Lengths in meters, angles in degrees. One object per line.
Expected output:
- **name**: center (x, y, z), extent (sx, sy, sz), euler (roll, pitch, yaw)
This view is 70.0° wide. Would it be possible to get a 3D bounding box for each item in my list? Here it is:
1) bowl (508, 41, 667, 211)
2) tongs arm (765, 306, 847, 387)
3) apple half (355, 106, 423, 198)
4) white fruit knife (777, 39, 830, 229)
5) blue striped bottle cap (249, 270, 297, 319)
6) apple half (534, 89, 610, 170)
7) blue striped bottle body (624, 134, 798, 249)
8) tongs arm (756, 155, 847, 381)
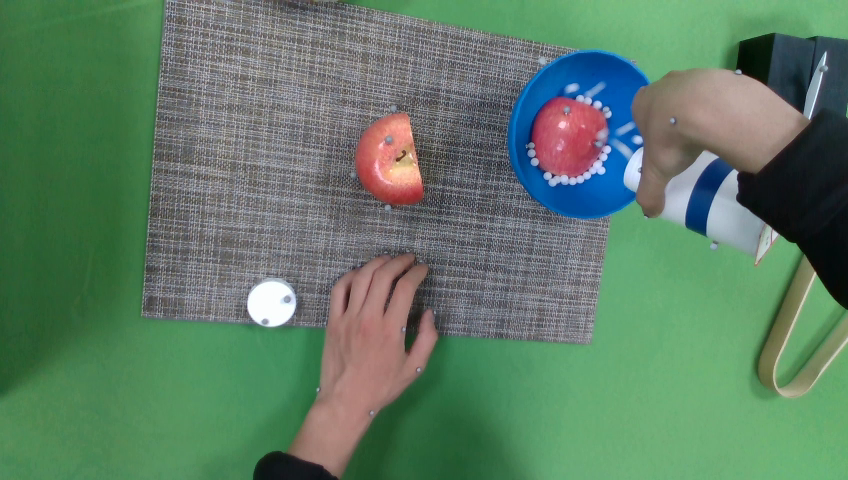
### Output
- **bowl**: center (0.142, -0.105, 0.577), extent (0.152, 0.076, 0.151), euler (-2, 99, -12)
- **tongs arm**: center (0.541, 0.023, 0.719), extent (0.051, 0.026, 0.384), euler (36, 91, -14)
- **apple half**: center (-0.035, -0.076, 0.542), extent (0.053, 0.074, 0.081), euler (-13, 104, -7)
- **white fruit knife**: center (0.392, -0.103, 0.636), extent (0.016, 0.027, 0.209), euler (3, 115, 4)
- **blue striped bottle cap**: center (-0.141, 0.051, 0.566), extent (0.045, 0.020, 0.044), euler (-2, 98, -15)
- **apple half**: center (0.144, -0.103, 0.573), extent (0.081, 0.032, 0.081), euler (-2, 98, -13)
- **blue striped bottle body**: center (0.223, -0.045, 0.487), extent (0.063, 0.119, 0.063), euler (-28, 134, -34)
- **tongs arm**: center (0.472, -0.019, 0.701), extent (0.028, 0.027, 0.387), euler (22, 93, -17)
